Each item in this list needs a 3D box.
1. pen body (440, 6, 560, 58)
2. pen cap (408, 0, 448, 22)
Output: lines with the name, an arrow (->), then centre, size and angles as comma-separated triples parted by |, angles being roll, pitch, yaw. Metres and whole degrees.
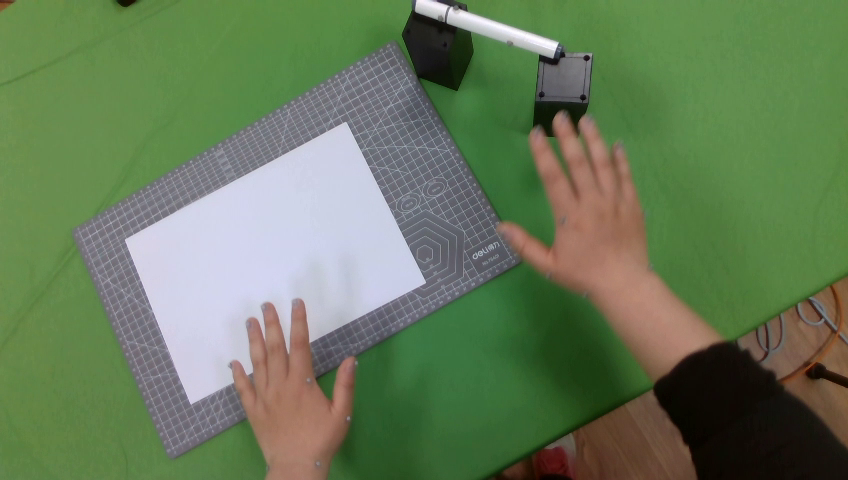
pen body -> 0.060, -0.203, 0.581 | 0.143, 0.017, 0.017 | 22, 86, 10
pen cap -> 0.003, -0.226, 0.591 | 0.038, 0.017, 0.017 | 22, 86, 11
